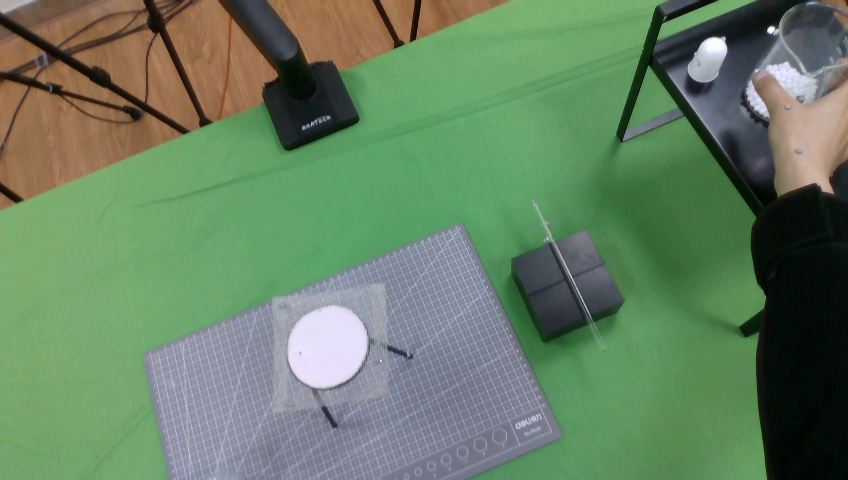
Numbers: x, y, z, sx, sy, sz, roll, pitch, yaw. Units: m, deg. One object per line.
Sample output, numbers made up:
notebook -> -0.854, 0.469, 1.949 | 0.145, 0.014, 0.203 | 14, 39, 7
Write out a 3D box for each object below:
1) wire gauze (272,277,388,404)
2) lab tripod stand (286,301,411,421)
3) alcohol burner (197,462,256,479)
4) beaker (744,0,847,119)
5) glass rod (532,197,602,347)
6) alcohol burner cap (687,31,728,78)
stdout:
wire gauze -> -0.099, 0.101, 0.629 | 0.121, 0.011, 0.124 | -7, 68, 4
lab tripod stand -> -0.098, 0.128, 0.692 | 0.148, 0.132, 0.147 | -3, 69, 8
alcohol burner -> -0.223, 0.281, 0.656 | 0.078, 0.120, 0.077 | -2, 70, 5
beaker -> 0.362, -0.169, 0.585 | 0.073, 0.101, 0.083 | 20, 72, 14
glass rod -> 0.168, 0.034, 0.718 | 0.008, 0.008, 0.198 | -19, 68, -1
alcohol burner cap -> 0.298, -0.197, 0.633 | 0.034, 0.048, 0.033 | -2, 66, 5
